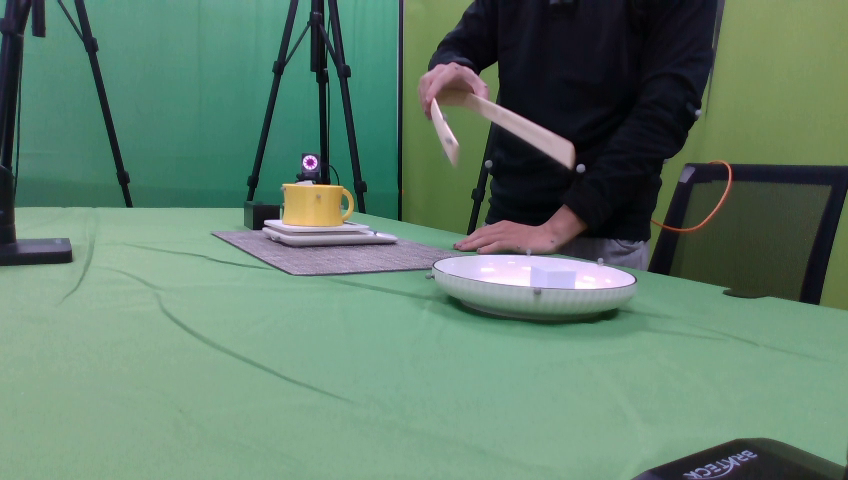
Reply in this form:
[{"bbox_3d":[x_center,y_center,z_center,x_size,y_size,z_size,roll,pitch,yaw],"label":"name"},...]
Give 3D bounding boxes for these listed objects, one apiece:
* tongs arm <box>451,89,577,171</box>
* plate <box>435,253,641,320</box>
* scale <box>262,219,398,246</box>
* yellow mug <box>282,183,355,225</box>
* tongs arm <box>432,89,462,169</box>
[{"bbox_3d":[0.106,-0.157,0.803,0.028,0.028,0.386,-8,24,-13],"label":"tongs arm"},{"bbox_3d":[0.114,0.047,0.626,0.208,0.039,0.207,2,7,0],"label":"plate"},{"bbox_3d":[-0.160,-0.016,1.028,0.202,0.031,0.148,-2,9,-31],"label":"scale"},{"bbox_3d":[-0.172,-0.061,1.009,0.131,0.064,0.099,-2,7,-41],"label":"yellow mug"},{"bbox_3d":[0.039,-0.157,0.792,0.051,0.026,0.384,-1,22,-6],"label":"tongs arm"}]
